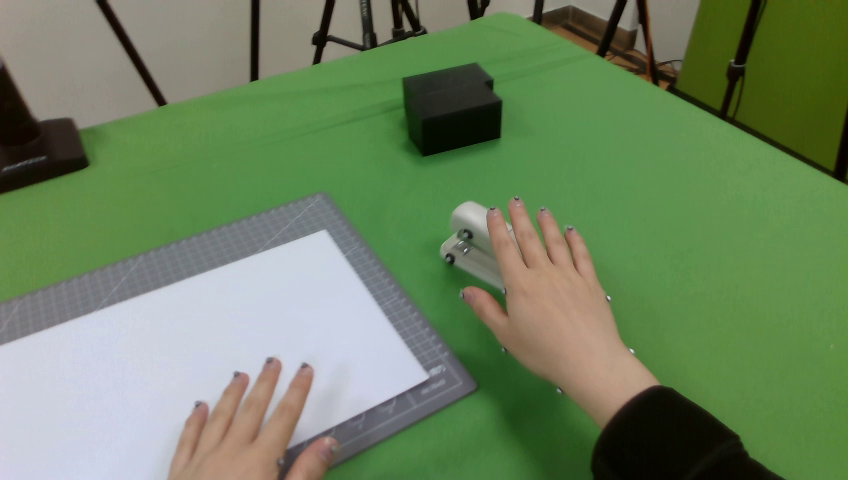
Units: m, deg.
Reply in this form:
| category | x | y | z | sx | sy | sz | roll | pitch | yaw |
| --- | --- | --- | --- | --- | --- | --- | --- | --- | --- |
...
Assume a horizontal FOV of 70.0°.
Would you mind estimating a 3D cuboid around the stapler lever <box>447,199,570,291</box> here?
| category | x | y | z | sx | sy | sz | roll | pitch | yaw |
| --- | --- | --- | --- | --- | --- | --- | --- | --- | --- |
| stapler lever | 0.071 | 0.001 | 0.528 | 0.117 | 0.040 | 0.027 | 28 | 52 | 29 |

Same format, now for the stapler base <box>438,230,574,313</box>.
| category | x | y | z | sx | sy | sz | roll | pitch | yaw |
| --- | --- | --- | --- | --- | --- | --- | --- | --- | --- |
| stapler base | 0.071 | 0.019 | 0.544 | 0.129 | 0.024 | 0.041 | 29 | 52 | 28 |
